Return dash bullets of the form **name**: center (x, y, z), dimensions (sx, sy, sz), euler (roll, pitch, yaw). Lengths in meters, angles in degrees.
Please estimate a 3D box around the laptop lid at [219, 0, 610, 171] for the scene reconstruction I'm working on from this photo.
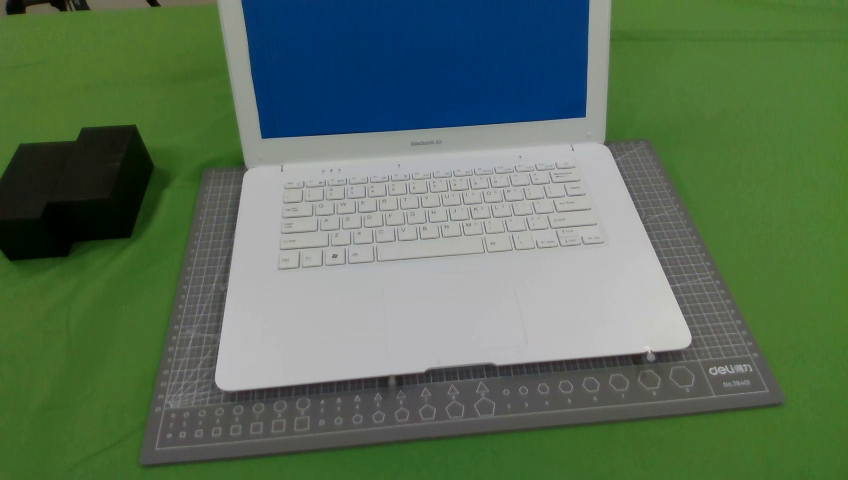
- **laptop lid**: center (-0.002, -0.185, 0.554), dimensions (0.357, 0.243, 0.013), euler (-6, 20, -3)

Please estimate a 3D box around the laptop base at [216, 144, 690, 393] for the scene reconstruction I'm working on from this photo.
- **laptop base**: center (0.015, 0.011, 0.518), dimensions (0.355, 0.023, 0.233), euler (-5, 51, -3)
